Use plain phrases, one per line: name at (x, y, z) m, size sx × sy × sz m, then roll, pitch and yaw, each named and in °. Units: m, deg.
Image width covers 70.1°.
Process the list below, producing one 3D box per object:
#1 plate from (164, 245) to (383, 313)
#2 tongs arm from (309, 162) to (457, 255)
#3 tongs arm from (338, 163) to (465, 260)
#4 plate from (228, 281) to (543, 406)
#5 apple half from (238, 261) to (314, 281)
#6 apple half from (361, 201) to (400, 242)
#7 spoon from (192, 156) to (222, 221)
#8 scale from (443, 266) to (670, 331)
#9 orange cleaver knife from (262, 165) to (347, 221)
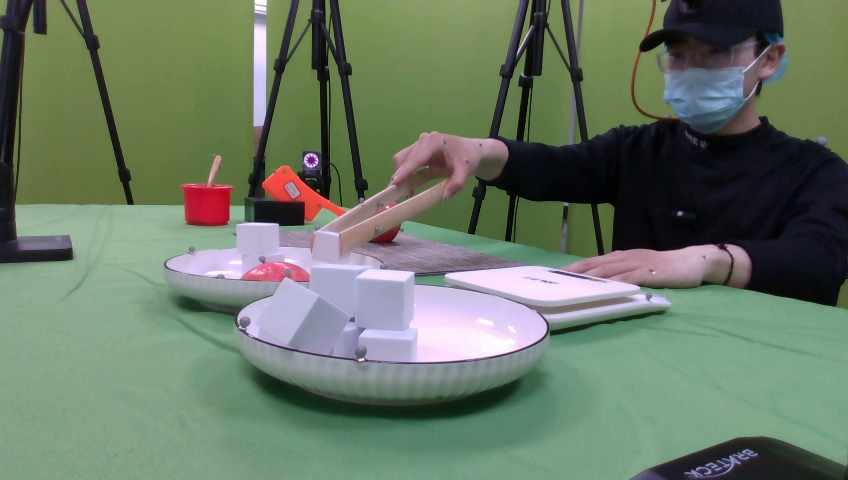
plate at (-0.145, 0.038, 0.600) m, size 0.209 × 0.038 × 0.209 m, roll 2°, pitch 8°, yaw 0°
tongs arm at (-0.033, -0.053, 0.790) m, size 0.050 × 0.026 × 0.385 m, roll 8°, pitch 21°, yaw 17°
tongs arm at (-0.012, -0.049, 0.782) m, size 0.028 × 0.028 × 0.388 m, roll 6°, pitch 20°, yaw 22°
plate at (-0.025, 0.067, 0.413) m, size 0.208 × 0.039 × 0.207 m, roll 3°, pitch 7°, yaw 0°
apple half at (-0.141, 0.036, 0.578) m, size 0.081 × 0.033 × 0.081 m, roll 2°, pitch 11°, yaw 0°
apple half at (-0.066, -0.032, 1.014) m, size 0.053 × 0.074 × 0.081 m, roll 9°, pitch 6°, yaw 21°
spoon at (-0.430, -0.108, 1.222) m, size 0.041 × 0.021 × 0.193 m, roll -1°, pitch 52°, yaw 0°
scale at (0.131, 0.052, 0.603) m, size 0.202 × 0.031 × 0.148 m, roll -2°, pitch 9°, yaw -37°
orange cleaver knife at (-0.243, -0.081, 1.292) m, size 0.212 × 0.077 × 0.012 m, roll 34°, pitch -8°, yaw -26°
